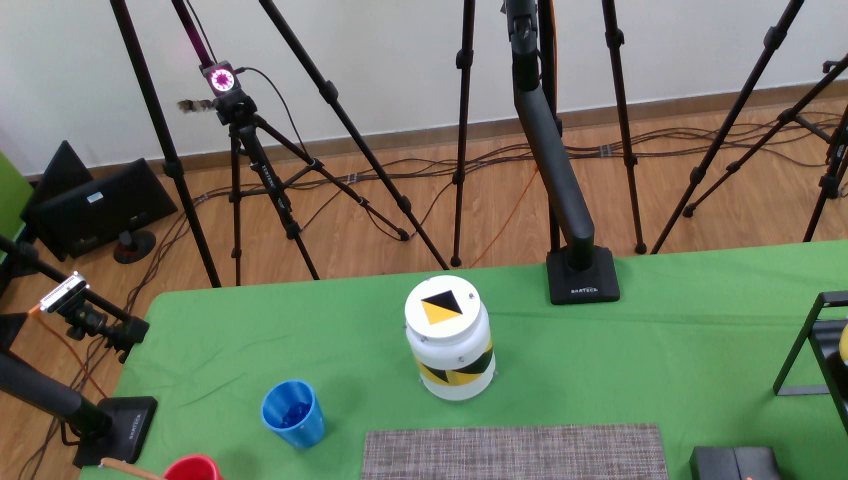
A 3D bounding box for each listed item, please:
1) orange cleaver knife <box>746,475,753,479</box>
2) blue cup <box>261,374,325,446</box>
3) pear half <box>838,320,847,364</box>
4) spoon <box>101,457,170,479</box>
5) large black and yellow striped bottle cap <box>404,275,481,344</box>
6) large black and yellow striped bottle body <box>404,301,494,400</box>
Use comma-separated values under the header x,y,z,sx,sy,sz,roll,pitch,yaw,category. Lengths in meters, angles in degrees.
x,y,z,sx,sy,sz,roll,pitch,yaw,category
0.411,0.395,0.725,0.012,0.077,0.210,-6,84,7,orange cleaver knife
-0.201,0.282,0.965,0.092,0.101,0.091,-5,50,7,blue cup
0.512,0.109,0.715,0.031,0.089,0.070,25,62,29,pear half
-0.387,0.363,0.909,0.195,0.021,0.041,31,48,-18,spoon
0.028,0.102,0.902,0.115,0.019,0.114,-7,49,9,large black and yellow striped bottle cap
0.041,0.157,0.965,0.130,0.186,0.129,-6,48,7,large black and yellow striped bottle body
